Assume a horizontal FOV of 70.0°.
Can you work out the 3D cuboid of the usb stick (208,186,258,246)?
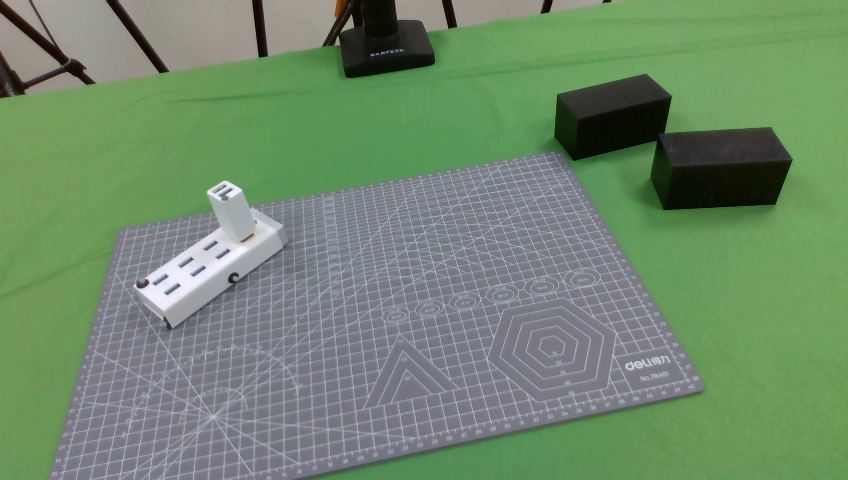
[{"bbox_3d":[-0.163,-0.016,0.524,0.027,0.060,0.021,23,51,33],"label":"usb stick"}]

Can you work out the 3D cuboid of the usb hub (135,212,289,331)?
[{"bbox_3d":[-0.183,0.023,0.531,0.049,0.025,0.125,27,52,32],"label":"usb hub"}]
